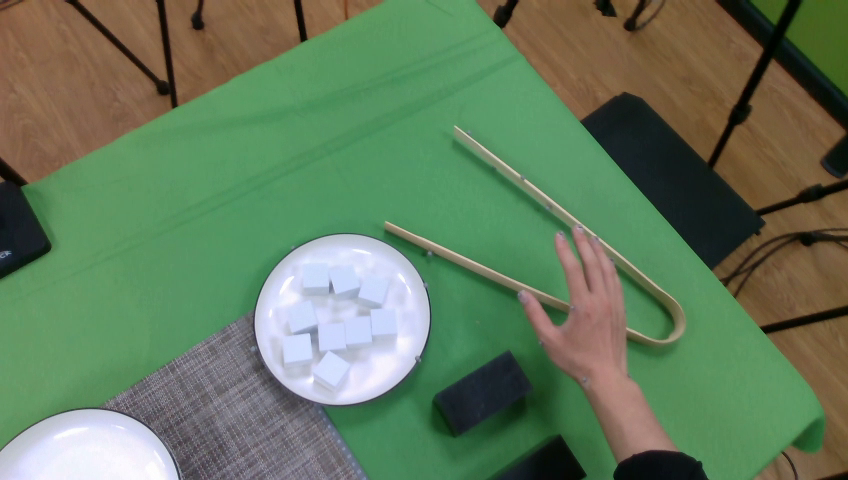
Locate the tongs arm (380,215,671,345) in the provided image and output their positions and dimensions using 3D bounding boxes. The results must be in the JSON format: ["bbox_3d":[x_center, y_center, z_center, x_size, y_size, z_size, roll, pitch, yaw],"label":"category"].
[{"bbox_3d":[0.121,0.050,0.760,0.387,0.028,0.028,24,68,4],"label":"tongs arm"}]

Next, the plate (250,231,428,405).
[{"bbox_3d":[-0.099,0.092,0.724,0.208,0.039,0.206,1,70,-4],"label":"plate"}]

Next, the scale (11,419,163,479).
[{"bbox_3d":[-0.335,0.305,0.629,0.148,0.032,0.200,-32,76,-14],"label":"scale"}]

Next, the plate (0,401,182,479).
[{"bbox_3d":[-0.346,0.269,0.606,0.209,0.038,0.207,2,70,-4],"label":"plate"}]

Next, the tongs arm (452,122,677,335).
[{"bbox_3d":[0.171,-0.020,0.784,0.383,0.026,0.050,39,73,8],"label":"tongs arm"}]
